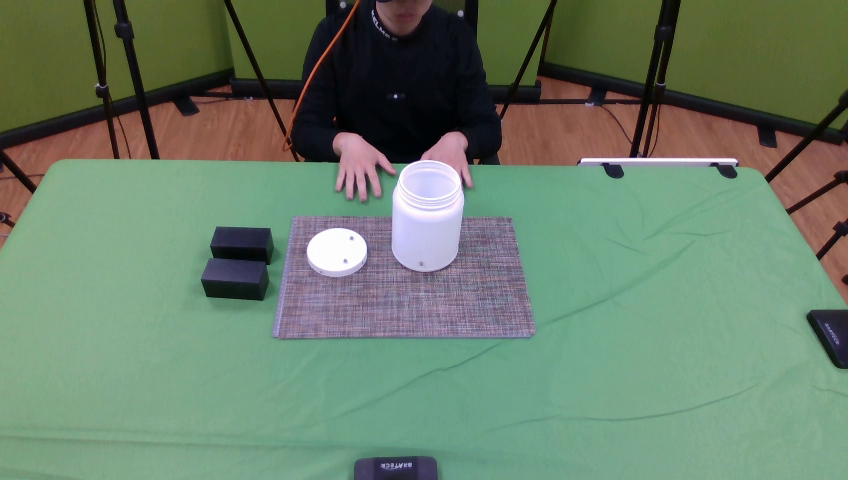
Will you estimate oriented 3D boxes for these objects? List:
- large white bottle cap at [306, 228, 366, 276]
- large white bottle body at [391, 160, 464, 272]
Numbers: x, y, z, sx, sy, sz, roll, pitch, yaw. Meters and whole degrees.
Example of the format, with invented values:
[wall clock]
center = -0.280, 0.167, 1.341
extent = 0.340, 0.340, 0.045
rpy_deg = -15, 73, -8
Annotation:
[large white bottle cap]
center = -0.168, 0.022, 1.162
extent = 0.115, 0.018, 0.114
rpy_deg = 2, 46, -2
[large white bottle body]
center = 0.005, -0.045, 1.124
extent = 0.131, 0.185, 0.130
rpy_deg = 2, 47, -2
